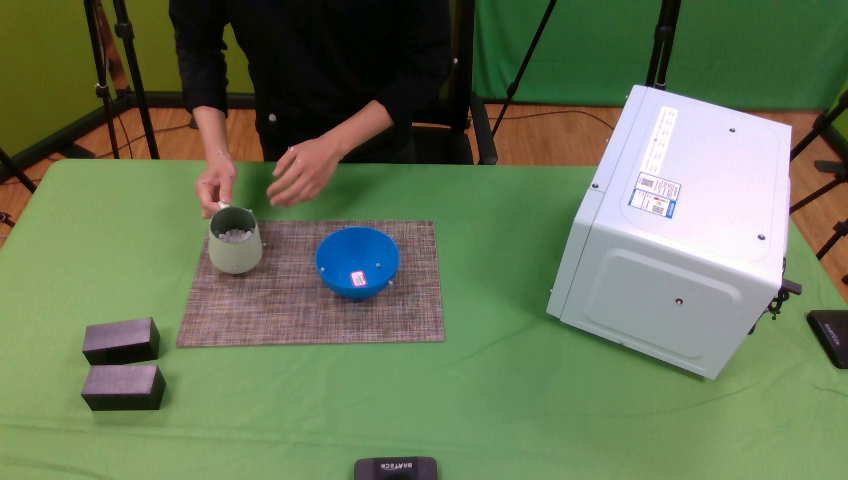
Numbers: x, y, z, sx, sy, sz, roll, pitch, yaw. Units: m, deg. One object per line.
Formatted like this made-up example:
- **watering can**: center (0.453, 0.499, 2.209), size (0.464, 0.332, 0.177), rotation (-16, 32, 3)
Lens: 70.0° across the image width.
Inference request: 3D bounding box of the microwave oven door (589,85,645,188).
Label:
- **microwave oven door**: center (0.342, -0.107, 1.148), size (0.039, 0.245, 0.354), rotation (20, 48, 15)

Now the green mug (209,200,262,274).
- **green mug**: center (-0.346, -0.012, 1.089), size (0.092, 0.105, 0.124), rotation (-18, 63, -23)

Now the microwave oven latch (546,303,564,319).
- **microwave oven latch**: center (0.242, 0.102, 1.081), size (0.030, 0.029, 0.079), rotation (21, 48, 17)

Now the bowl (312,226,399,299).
- **bowl**: center (-0.120, 0.054, 1.091), size (0.151, 0.077, 0.150), rotation (2, 46, -2)

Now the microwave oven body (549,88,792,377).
- **microwave oven body**: center (0.456, -0.028, 1.088), size (0.325, 0.261, 0.440), rotation (20, 47, 16)
